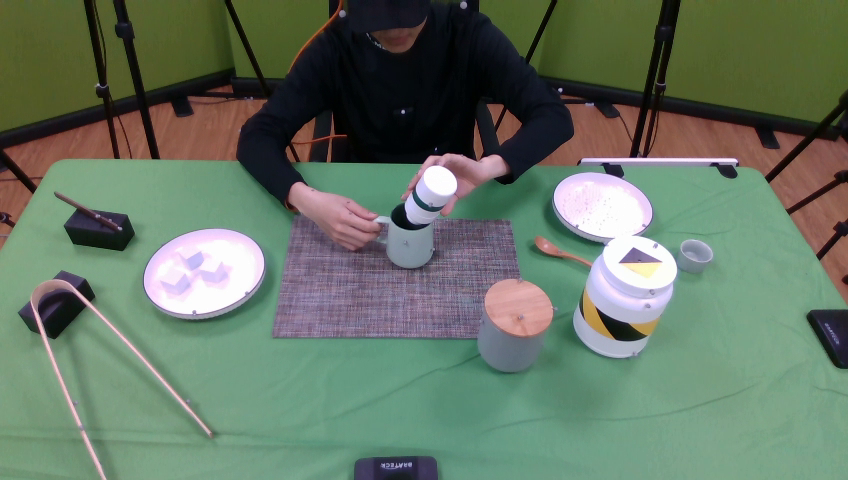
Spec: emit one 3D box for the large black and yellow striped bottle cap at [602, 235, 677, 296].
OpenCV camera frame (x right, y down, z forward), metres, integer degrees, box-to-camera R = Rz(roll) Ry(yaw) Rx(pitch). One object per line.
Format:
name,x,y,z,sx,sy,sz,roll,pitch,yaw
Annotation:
large black and yellow striped bottle cap,0.340,0.037,0.955,0.115,0.019,0.114,2,47,-2

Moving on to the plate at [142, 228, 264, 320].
plate,-0.394,0.064,1.095,0.208,0.039,0.206,2,46,-2

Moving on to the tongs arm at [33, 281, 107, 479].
tongs arm,-0.517,0.214,0.910,0.051,0.026,0.383,-28,63,-27

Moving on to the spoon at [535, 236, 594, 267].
spoon,0.303,0.040,1.178,0.193,0.022,0.041,25,30,19

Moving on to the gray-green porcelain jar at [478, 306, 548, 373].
gray-green porcelain jar,0.144,0.148,0.989,0.106,0.127,0.105,2,50,-2

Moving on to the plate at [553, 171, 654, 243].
plate,0.373,-0.066,1.275,0.209,0.038,0.208,2,46,-2

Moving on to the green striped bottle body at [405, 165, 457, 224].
green striped bottle body,0.007,-0.073,1.056,0.063,0.119,0.063,12,57,-18

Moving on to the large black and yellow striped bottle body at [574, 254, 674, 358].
large black and yellow striped bottle body,0.335,0.096,1.014,0.131,0.185,0.130,2,46,-2

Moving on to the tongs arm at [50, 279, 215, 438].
tongs arm,-0.459,0.178,0.949,0.386,0.028,0.028,37,60,17

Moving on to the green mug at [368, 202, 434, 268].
green mug,-0.043,-0.010,1.140,0.125,0.105,0.092,7,47,3

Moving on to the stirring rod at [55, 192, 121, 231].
stirring rod,-0.632,-0.055,1.138,0.175,0.014,0.006,24,50,19

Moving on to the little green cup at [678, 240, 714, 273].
little green cup,0.530,0.033,1.190,0.061,0.039,0.061,2,46,-1

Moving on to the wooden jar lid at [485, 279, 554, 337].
wooden jar lid,0.147,0.108,0.940,0.108,0.021,0.107,4,47,-4

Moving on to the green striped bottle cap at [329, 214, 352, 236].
green striped bottle cap,-0.167,-0.030,1.214,0.044,0.020,0.044,1,51,-1
